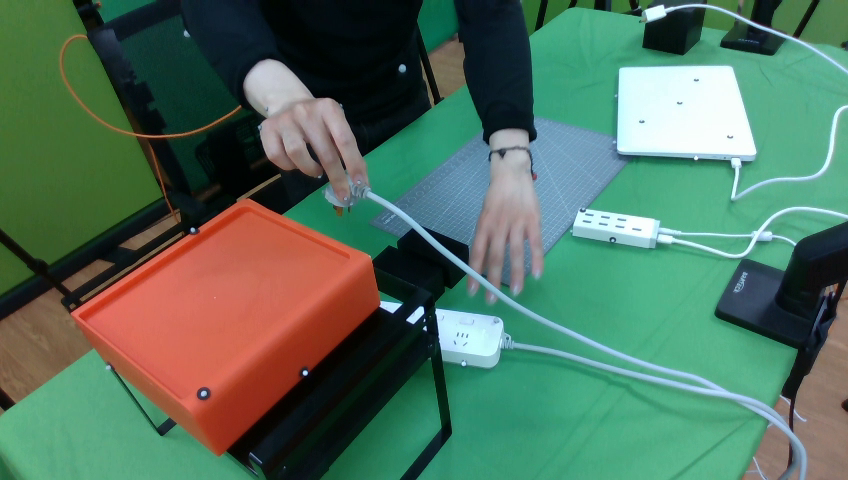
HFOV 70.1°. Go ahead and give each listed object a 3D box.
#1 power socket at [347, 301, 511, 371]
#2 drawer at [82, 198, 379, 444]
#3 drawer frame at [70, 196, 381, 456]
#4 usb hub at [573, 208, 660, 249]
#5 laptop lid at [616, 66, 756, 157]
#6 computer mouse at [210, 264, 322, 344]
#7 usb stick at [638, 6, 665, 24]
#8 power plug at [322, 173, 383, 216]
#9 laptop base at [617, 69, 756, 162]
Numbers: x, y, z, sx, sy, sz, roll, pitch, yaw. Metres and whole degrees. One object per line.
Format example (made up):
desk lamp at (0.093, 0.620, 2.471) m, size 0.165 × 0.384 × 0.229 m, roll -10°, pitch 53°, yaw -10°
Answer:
power socket at (0.001, 0.126, 0.816) m, size 0.226 × 0.033 × 0.072 m, roll 7°, pitch 43°, yaw 15°
drawer at (-0.185, 0.066, 0.600) m, size 0.193 × 0.073 × 0.212 m, roll 24°, pitch 50°, yaw 31°
drawer frame at (-0.186, 0.068, 0.597) m, size 0.200 × 0.083 × 0.214 m, roll 23°, pitch 50°, yaw 30°
usb hub at (0.301, -0.019, 0.949) m, size 0.124 × 0.025 × 0.049 m, roll 11°, pitch 43°, yaw 20°
laptop lid at (0.503, -0.265, 1.196) m, size 0.241 × 0.013 × 0.356 m, roll 5°, pitch 41°, yaw 16°
computer mouse at (-0.164, 0.062, 0.624) m, size 0.116 × 0.041 × 0.063 m, roll 22°, pitch 44°, yaw 27°
usb stick at (0.503, -0.499, 1.347) m, size 0.059 × 0.027 × 0.021 m, roll -21°, pitch 5°, yaw -1°
power plug at (-0.078, -0.039, 0.633) m, size 0.035 × 0.053 × 0.072 m, roll -18°, pitch 48°, yaw -31°
laptop base at (0.507, -0.256, 1.204) m, size 0.235 × 0.023 × 0.353 m, roll 3°, pitch 41°, yaw 15°
